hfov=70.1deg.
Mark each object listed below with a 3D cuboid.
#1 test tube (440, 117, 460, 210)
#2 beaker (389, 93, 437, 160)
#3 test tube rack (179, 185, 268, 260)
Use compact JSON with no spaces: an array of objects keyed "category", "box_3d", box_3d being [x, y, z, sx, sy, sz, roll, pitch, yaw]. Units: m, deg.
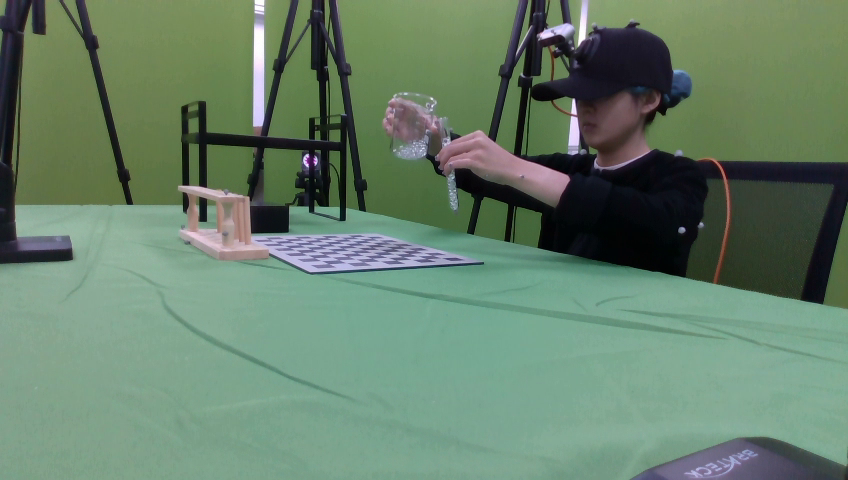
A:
[{"category":"test tube","box_3d":[0.042,-0.122,0.969,0.017,0.150,0.017,-7,4,1]},{"category":"beaker","box_3d":[-0.019,-0.193,1.039,0.074,0.100,0.083,-14,35,-37]},{"category":"test tube rack","box_3d":[-0.303,-0.031,0.898,0.067,0.085,0.241,-2,9,-33]}]
